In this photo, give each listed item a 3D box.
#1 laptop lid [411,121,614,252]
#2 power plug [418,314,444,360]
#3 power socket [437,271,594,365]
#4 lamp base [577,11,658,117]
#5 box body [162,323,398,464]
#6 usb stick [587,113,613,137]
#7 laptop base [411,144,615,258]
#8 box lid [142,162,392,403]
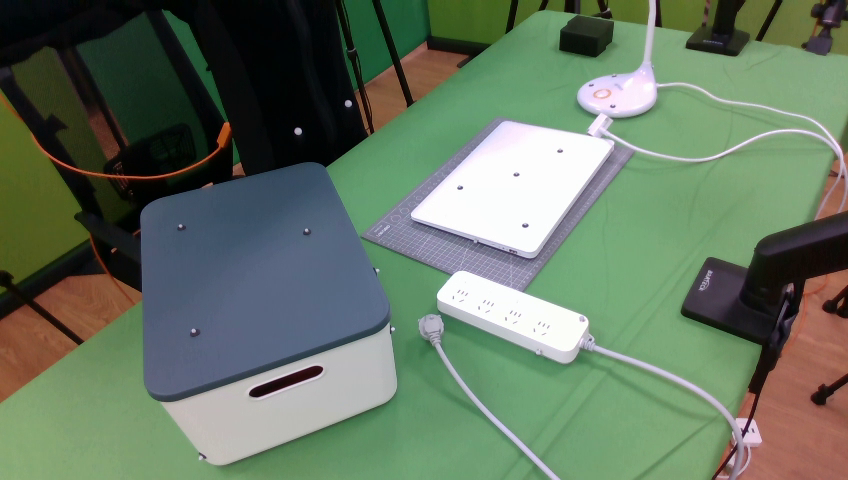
[{"bbox_3d":[0.164,-0.112,1.068,0.240,0.013,0.357,19,46,30],"label":"laptop lid"},{"bbox_3d":[0.009,0.133,0.804,0.035,0.053,0.072,0,57,5],"label":"power plug"},{"bbox_3d":[0.118,0.103,0.829,0.225,0.033,0.072,20,49,28],"label":"power socket"},{"bbox_3d":[0.407,-0.365,1.223,0.180,0.181,0.159,-20,42,-18],"label":"lamp base"},{"bbox_3d":[-0.205,0.080,0.802,0.255,0.161,0.361,-18,41,-13],"label":"box body"},{"bbox_3d":[0.329,-0.210,1.149,0.022,0.059,0.027,29,19,-27],"label":"usb stick"},{"bbox_3d":[0.167,-0.102,1.074,0.234,0.023,0.355,16,45,30],"label":"laptop base"},{"bbox_3d":[-0.212,0.024,0.752,0.264,0.015,0.368,-17,41,-13],"label":"box lid"}]
